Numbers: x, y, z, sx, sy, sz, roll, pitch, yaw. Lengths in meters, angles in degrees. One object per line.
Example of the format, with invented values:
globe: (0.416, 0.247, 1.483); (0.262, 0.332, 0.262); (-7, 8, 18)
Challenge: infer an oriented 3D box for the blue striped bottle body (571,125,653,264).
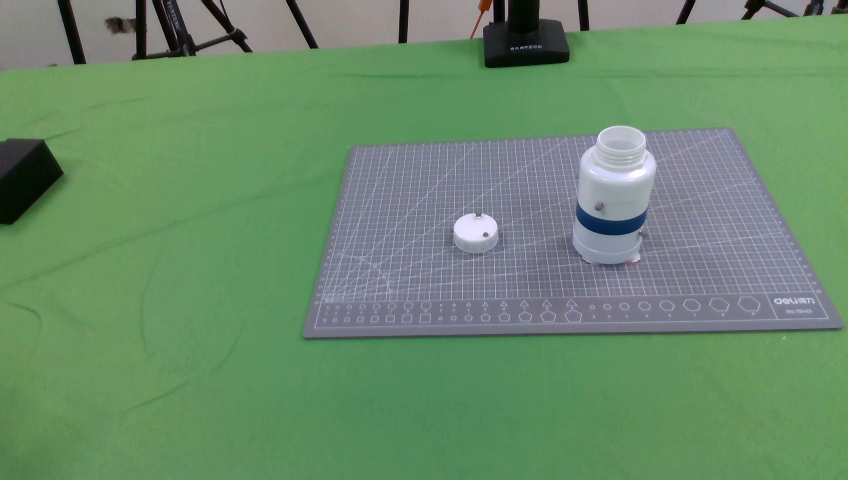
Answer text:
blue striped bottle body: (0.167, -0.041, 0.540); (0.063, 0.122, 0.062); (-4, 43, 4)

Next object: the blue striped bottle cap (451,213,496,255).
blue striped bottle cap: (0.049, -0.006, 0.597); (0.044, 0.021, 0.044); (-3, 41, 3)
